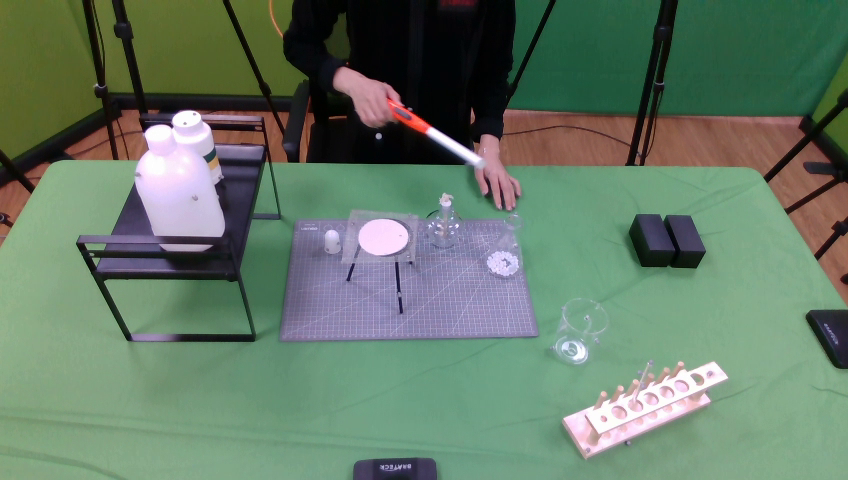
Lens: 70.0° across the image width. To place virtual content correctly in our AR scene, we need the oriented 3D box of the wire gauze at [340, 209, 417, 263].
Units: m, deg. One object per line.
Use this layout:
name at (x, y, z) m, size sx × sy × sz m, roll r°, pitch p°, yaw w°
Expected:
wire gauze at (-0.074, -0.007, 1.023) m, size 0.121 × 0.011 × 0.124 m, roll 3°, pitch 46°, yaw 0°

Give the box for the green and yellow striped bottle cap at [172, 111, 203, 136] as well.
green and yellow striped bottle cap at (-0.374, -0.185, 0.958) m, size 0.045 × 0.020 × 0.045 m, roll 4°, pitch 46°, yaw -4°

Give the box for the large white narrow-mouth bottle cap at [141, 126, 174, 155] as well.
large white narrow-mouth bottle cap at (-0.356, -0.134, 0.811) m, size 0.038 × 0.024 × 0.037 m, roll 1°, pitch 48°, yaw -1°

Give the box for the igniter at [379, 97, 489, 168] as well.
igniter at (0.011, -0.212, 1.169) m, size 0.275 × 0.057 × 0.025 m, roll 35°, pitch 91°, yaw 27°

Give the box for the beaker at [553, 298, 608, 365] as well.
beaker at (0.260, 0.154, 1.015) m, size 0.073 × 0.101 × 0.084 m, roll 37°, pitch 54°, yaw 27°

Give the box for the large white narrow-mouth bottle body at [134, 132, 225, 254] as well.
large white narrow-mouth bottle body at (-0.358, -0.075, 0.875) m, size 0.102 × 0.195 × 0.101 m, roll 1°, pitch 48°, yaw -1°

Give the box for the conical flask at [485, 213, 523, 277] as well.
conical flask at (0.157, 0.007, 1.129) m, size 0.075 × 0.122 × 0.075 m, roll 2°, pitch 46°, yaw -2°

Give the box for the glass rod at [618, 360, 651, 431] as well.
glass rod at (0.298, 0.227, 0.865) m, size 0.008 × 0.201 × 0.008 m, roll -1°, pitch 48°, yaw 2°

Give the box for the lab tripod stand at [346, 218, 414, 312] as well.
lab tripod stand at (-0.070, 0.037, 1.075) m, size 0.148 × 0.132 × 0.147 m, roll 1°, pitch 48°, yaw -1°

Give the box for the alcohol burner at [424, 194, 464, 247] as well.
alcohol burner at (0.039, -0.043, 1.175) m, size 0.078 × 0.120 × 0.077 m, roll 1°, pitch 48°, yaw -1°

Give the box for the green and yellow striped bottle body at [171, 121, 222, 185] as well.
green and yellow striped bottle body at (-0.375, -0.149, 0.995) m, size 0.063 × 0.120 × 0.063 m, roll 2°, pitch 46°, yaw -2°

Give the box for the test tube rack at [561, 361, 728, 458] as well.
test tube rack at (0.341, 0.248, 0.940) m, size 0.243 × 0.085 × 0.066 m, roll -15°, pitch 49°, yaw -18°

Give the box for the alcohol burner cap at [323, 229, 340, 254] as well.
alcohol burner cap at (-0.179, 0.001, 1.165) m, size 0.034 × 0.048 × 0.033 m, roll 2°, pitch 45°, yaw -2°
